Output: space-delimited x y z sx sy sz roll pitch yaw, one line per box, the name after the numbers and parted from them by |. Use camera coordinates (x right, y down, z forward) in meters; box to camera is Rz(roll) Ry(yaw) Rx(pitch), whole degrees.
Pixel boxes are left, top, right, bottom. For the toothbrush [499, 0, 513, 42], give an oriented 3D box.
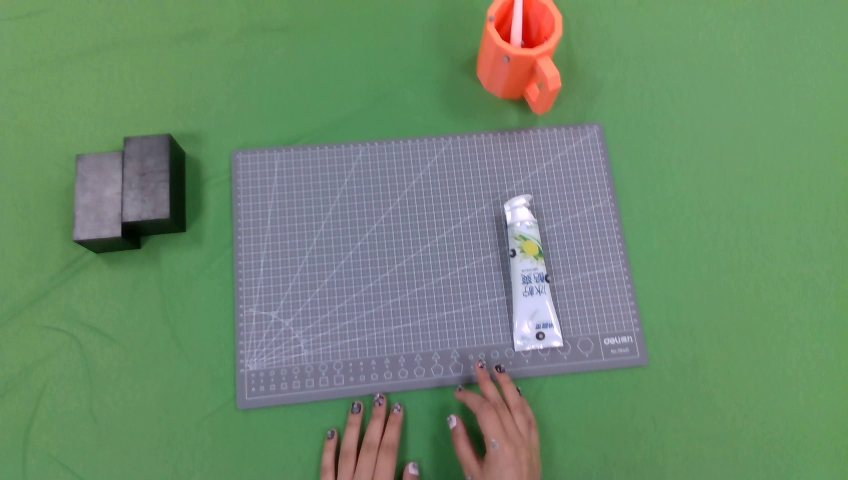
0.097 -0.266 0.686 0.014 0.183 0.016 -13 40 -22 | toothbrush

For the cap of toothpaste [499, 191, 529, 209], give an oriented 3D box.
0.105 -0.045 0.698 0.037 0.037 0.011 -18 73 -8 | cap of toothpaste

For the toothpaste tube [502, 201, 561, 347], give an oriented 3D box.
0.114 0.035 0.683 0.055 0.034 0.164 -8 79 2 | toothpaste tube

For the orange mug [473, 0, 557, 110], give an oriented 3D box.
0.114 -0.221 0.717 0.083 0.101 0.125 -26 73 -9 | orange mug
